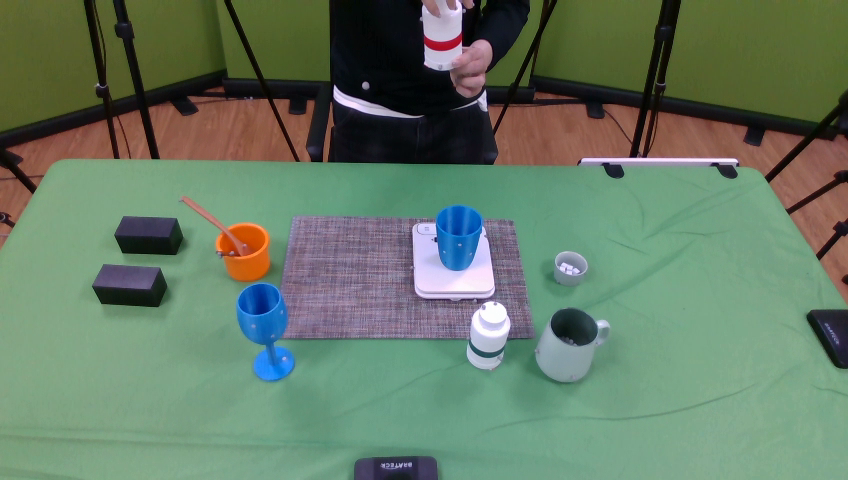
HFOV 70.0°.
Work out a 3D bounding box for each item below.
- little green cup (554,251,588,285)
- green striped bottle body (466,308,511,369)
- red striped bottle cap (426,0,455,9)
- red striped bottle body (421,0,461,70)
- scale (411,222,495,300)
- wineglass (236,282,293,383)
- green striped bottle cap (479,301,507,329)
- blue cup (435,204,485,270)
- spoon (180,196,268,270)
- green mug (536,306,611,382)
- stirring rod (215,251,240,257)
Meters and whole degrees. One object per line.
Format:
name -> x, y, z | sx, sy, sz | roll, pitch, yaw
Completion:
little green cup -> 0.276, 0.055, 1.151 | 0.061, 0.039, 0.061 | 1, 46, -1
green striped bottle body -> 0.106, 0.154, 0.988 | 0.063, 0.120, 0.063 | 2, 46, -2
red striped bottle cap -> 0.025, -0.370, 0.922 | 0.044, 0.018, 0.044 | -1, 49, 1
red striped bottle body -> 0.028, -0.339, 0.966 | 0.063, 0.120, 0.062 | -2, 52, 3
scale -> 0.052, 0.031, 1.158 | 0.149, 0.032, 0.199 | 1, 46, -4
wineglass -> -0.243, 0.143, 0.934 | 0.074, 0.173, 0.073 | 2, 46, -2
green striped bottle cap -> 0.109, 0.118, 0.950 | 0.044, 0.020, 0.044 | 2, 47, -2
blue cup -> 0.061, 0.001, 1.097 | 0.092, 0.101, 0.092 | 0, 44, 0
spoon -> -0.360, -0.014, 1.094 | 0.021, 0.194, 0.041 | -27, 26, 31
green mug -> 0.250, 0.167, 0.996 | 0.125, 0.105, 0.092 | -15, 49, -19
stirring rod -> -0.339, 0.025, 1.059 | 0.014, 0.176, 0.006 | 16, 86, -6
